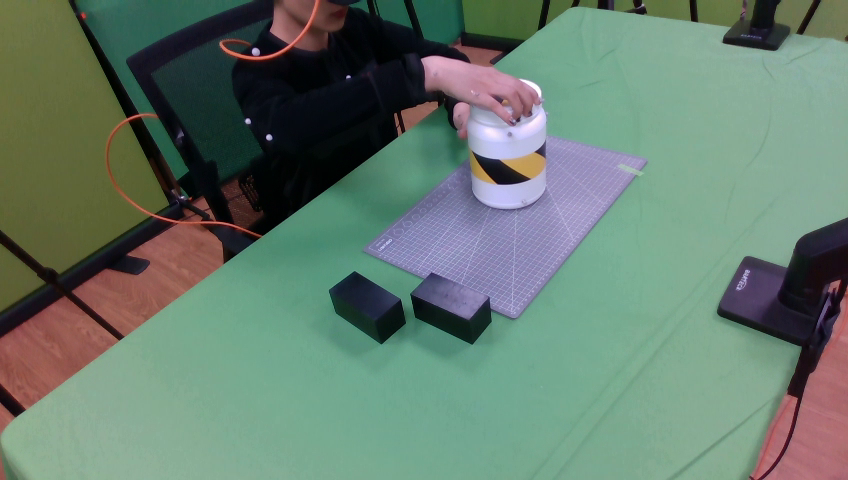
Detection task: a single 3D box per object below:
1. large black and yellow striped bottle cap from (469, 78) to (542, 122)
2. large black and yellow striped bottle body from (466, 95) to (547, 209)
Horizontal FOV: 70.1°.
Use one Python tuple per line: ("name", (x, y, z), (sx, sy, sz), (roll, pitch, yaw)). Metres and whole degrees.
("large black and yellow striped bottle cap", (0.129, -0.224, 0.961), (0.115, 0.019, 0.114), (-4, 41, 4))
("large black and yellow striped bottle body", (0.140, -0.159, 1.014), (0.131, 0.185, 0.130), (-5, 40, 5))
